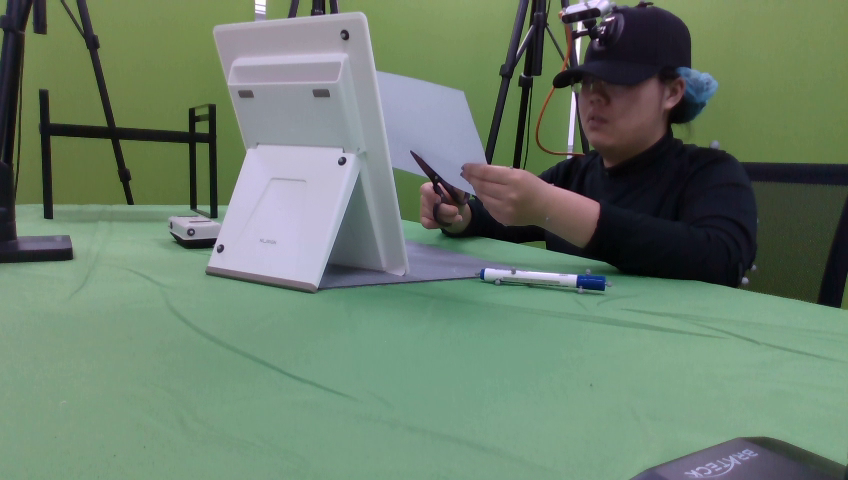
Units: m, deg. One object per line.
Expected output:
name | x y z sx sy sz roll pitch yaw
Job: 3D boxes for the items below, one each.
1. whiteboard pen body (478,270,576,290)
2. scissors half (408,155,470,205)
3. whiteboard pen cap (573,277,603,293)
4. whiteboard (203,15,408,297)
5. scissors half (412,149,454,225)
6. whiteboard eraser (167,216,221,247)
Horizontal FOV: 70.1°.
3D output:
whiteboard pen body | 0.131 0.048 0.706 0.140 0.017 0.017 4 7 18
scissors half | 0.025 -0.099 0.973 0.012 0.040 0.176 35 6 39
whiteboard pen cap | 0.186 0.051 0.687 0.033 0.018 0.018 5 8 17
whiteboard | -0.166 -0.072 0.668 0.216 0.305 0.144 8 30 30
scissors half | 0.012 -0.082 0.971 0.013 0.176 0.040 28 67 38
whiteboard eraser | -0.350 -0.013 0.920 0.056 0.042 0.112 0 7 -35
